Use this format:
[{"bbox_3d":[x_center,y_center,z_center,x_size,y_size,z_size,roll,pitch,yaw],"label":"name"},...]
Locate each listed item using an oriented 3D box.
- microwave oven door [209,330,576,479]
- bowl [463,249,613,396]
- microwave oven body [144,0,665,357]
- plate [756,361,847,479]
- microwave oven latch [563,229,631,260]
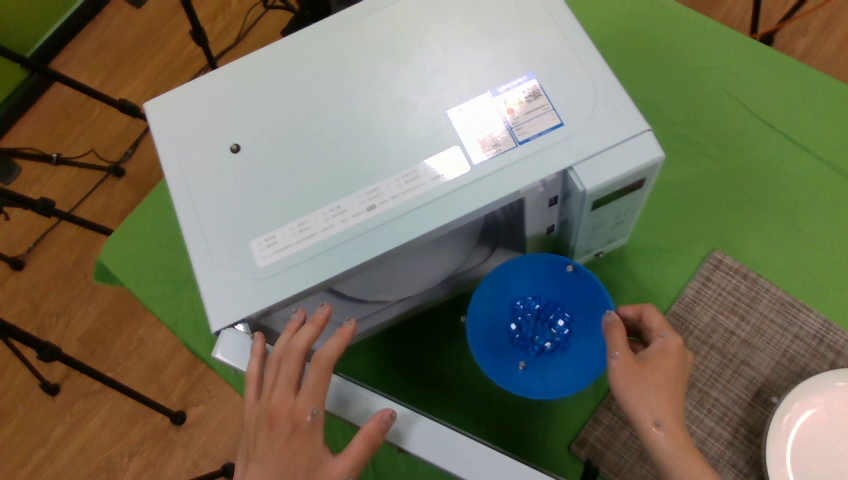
[{"bbox_3d":[-0.009,0.185,0.600,0.354,0.245,0.039,20,75,15],"label":"microwave oven door"},{"bbox_3d":[0.120,0.092,0.641,0.151,0.077,0.150,-4,69,11],"label":"bowl"},{"bbox_3d":[-0.024,-0.083,0.700,0.442,0.262,0.323,-25,69,1],"label":"microwave oven body"},{"bbox_3d":[0.455,0.233,0.632,0.207,0.039,0.206,-3,71,8],"label":"plate"},{"bbox_3d":[0.210,-0.002,0.738,0.079,0.030,0.030,-23,69,1],"label":"microwave oven latch"}]
